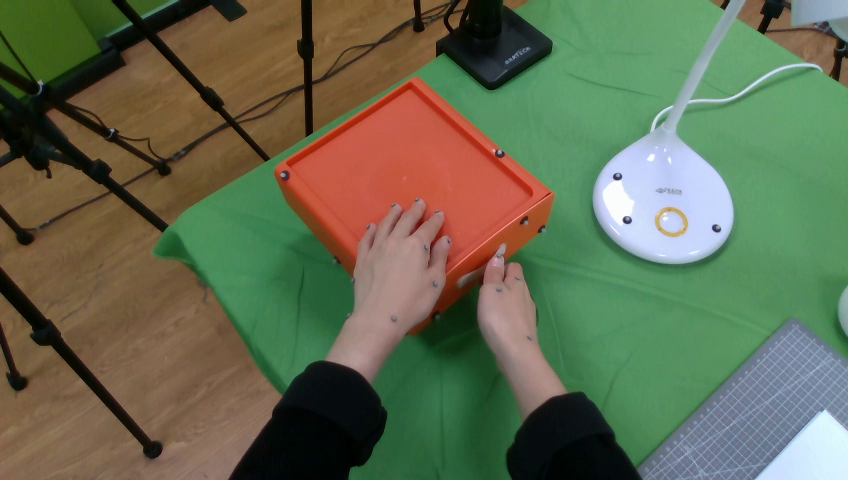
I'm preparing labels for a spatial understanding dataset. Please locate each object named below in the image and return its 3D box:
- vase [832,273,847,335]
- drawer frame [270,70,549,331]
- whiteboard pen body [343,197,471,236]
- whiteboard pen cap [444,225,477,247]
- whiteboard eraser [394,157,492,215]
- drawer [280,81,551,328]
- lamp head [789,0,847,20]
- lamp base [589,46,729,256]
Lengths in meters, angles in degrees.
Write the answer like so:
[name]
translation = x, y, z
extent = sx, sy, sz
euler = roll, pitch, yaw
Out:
[vase]
translation = 0.473, 0.033, 0.562
extent = 0.098, 0.201, 0.097
euler = -1, 59, 2
[drawer frame]
translation = -0.015, -0.048, 0.640
extent = 0.201, 0.083, 0.212
euler = -38, 68, -17
[whiteboard pen body]
translation = -0.019, -0.023, 0.641
extent = 0.140, 0.017, 0.017
euler = 15, 62, 10
[whiteboard pen cap]
translation = 0.038, -0.005, 0.637
extent = 0.033, 0.018, 0.018
euler = 16, 62, 8
[whiteboard eraser]
translation = 0.022, -0.061, 0.686
extent = 0.112, 0.042, 0.055
euler = 14, 68, 44
[drawer]
translation = -0.011, -0.046, 0.637
extent = 0.194, 0.074, 0.210
euler = -38, 66, -17
[lamp head]
translation = 0.288, -0.207, 0.380
extent = 0.112, 0.112, 0.123
euler = -12, 99, -5
[lamp base]
translation = 0.272, -0.101, 0.652
extent = 0.161, 0.182, 0.177
euler = -5, 58, -1
